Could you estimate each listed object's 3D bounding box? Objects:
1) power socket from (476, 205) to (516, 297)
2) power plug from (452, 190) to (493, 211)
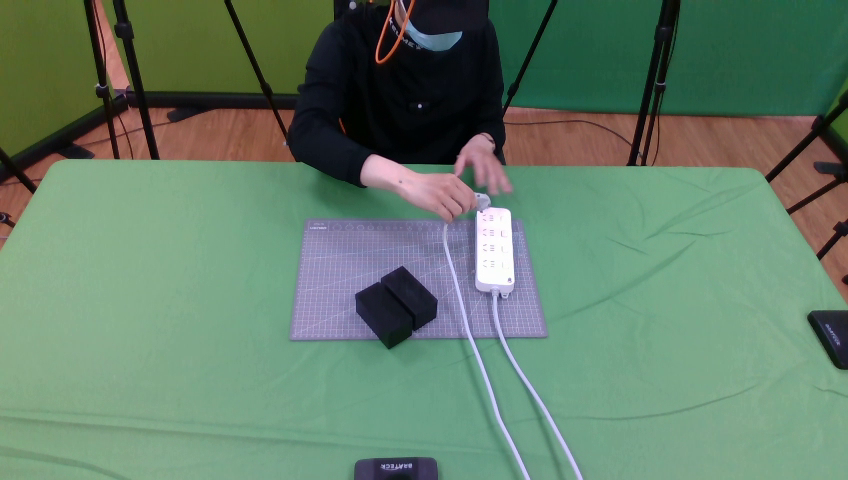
[{"bbox_3d":[0.139,0.013,1.178,0.072,0.033,0.225,4,47,2],"label":"power socket"},{"bbox_3d":[0.096,-0.075,1.171,0.072,0.053,0.035,-9,54,18],"label":"power plug"}]
